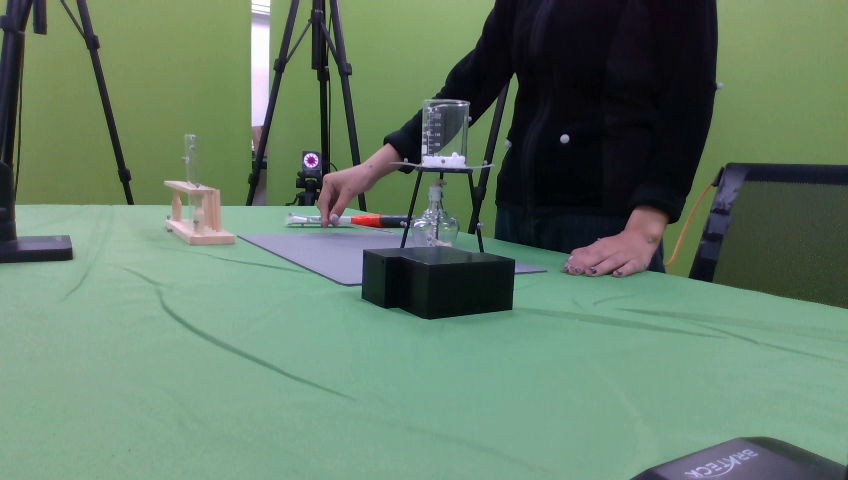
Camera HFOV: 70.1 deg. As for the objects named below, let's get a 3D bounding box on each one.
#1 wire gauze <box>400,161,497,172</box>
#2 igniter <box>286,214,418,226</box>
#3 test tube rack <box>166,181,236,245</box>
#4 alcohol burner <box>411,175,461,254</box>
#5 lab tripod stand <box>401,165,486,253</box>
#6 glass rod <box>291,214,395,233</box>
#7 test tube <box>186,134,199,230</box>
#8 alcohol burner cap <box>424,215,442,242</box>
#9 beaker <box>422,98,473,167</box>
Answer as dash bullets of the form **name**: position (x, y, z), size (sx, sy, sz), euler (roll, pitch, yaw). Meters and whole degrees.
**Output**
- **wire gauze**: position (0.027, -0.114, 0.920), size (0.122, 0.011, 0.124), euler (-5, 13, -34)
- **igniter**: position (-0.145, -0.043, 1.262), size (0.278, 0.025, 0.057), euler (-1, -2, -25)
- **test tube rack**: position (-0.383, -0.051, 1.024), size (0.067, 0.085, 0.241), euler (-2, 9, -31)
- **alcohol burner**: position (0.018, -0.040, 0.931), size (0.078, 0.119, 0.078), euler (0, 7, 0)
- **lab tripod stand**: position (0.028, -0.049, 0.930), size (0.148, 0.131, 0.148), euler (3, 9, 0)
- **glass rod**: position (-0.143, -0.029, 1.099), size (0.201, 0.008, 0.008), euler (9, 3, -28)
- **test tube**: position (-0.360, -0.089, 0.946), size (0.017, 0.150, 0.017), euler (0, 10, 0)
- **alcohol burner cap**: position (0.017, -0.022, 1.098), size (0.034, 0.048, 0.034), euler (2, 9, 0)
- **beaker**: position (0.031, -0.162, 0.919), size (0.074, 0.100, 0.083), euler (-4, 10, -36)
